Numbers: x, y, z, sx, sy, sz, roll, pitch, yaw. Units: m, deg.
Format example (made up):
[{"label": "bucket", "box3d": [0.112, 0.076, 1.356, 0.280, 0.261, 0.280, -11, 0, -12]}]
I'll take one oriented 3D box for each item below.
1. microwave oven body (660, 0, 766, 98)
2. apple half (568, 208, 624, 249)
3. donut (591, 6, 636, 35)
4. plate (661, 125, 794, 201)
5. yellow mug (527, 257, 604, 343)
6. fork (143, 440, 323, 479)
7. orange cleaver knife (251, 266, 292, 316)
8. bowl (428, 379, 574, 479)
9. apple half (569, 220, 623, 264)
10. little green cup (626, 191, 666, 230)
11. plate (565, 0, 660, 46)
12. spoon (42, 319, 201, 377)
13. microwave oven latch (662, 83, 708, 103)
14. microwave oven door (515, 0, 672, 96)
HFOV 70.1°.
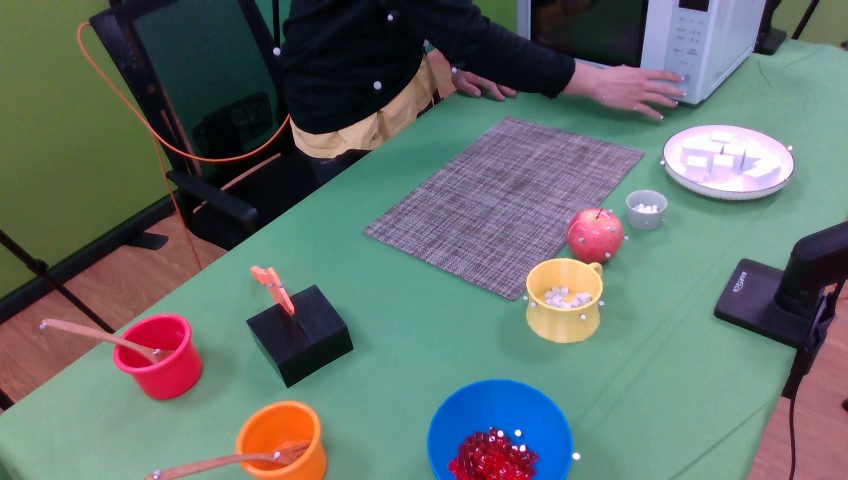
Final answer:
[{"label": "microwave oven body", "box3d": [0.472, -0.513, 1.317, 0.438, 0.261, 0.327, 26, 51, 34]}, {"label": "apple half", "box3d": [0.259, -0.014, 0.914, 0.080, 0.075, 0.053, 0, 36, 15]}, {"label": "donut", "box3d": [0.427, -0.497, 1.364, 0.099, 0.048, 0.098, -5, 38, 4]}, {"label": "plate", "box3d": [0.513, -0.128, 1.035, 0.207, 0.039, 0.206, -4, 40, 4]}, {"label": "yellow mug", "box3d": [0.202, 0.072, 0.825, 0.131, 0.064, 0.099, -32, 46, -27]}, {"label": "fork", "box3d": [-0.190, 0.231, 0.631, 0.028, 0.018, 0.209, 38, 14, 37]}, {"label": "orange cleaver knife", "box3d": [-0.221, 0.071, 0.873, 0.012, 0.077, 0.210, -25, 11, -21]}, {"label": "bowl", "box3d": [0.082, 0.233, 0.644, 0.151, 0.077, 0.150, -4, 39, 4]}, {"label": "apple half", "box3d": [0.251, 0.010, 0.884, 0.081, 0.081, 0.032, 3, 37, 12]}, {"label": "little green cup", "box3d": [0.352, -0.046, 0.963, 0.061, 0.039, 0.061, -4, 40, 4]}, {"label": "plate", "box3d": [0.427, -0.489, 1.377, 0.209, 0.038, 0.208, -5, 40, 4]}, {"label": "spoon", "box3d": [-0.385, 0.135, 0.779, 0.195, 0.021, 0.041, 28, 37, -27]}, {"label": "microwave oven latch", "box3d": [0.518, -0.297, 1.204, 0.078, 0.029, 0.030, 28, 52, 36]}, {"label": "microwave oven door", "box3d": [0.344, -0.455, 1.259, 0.353, 0.245, 0.039, 26, 51, 33]}]
